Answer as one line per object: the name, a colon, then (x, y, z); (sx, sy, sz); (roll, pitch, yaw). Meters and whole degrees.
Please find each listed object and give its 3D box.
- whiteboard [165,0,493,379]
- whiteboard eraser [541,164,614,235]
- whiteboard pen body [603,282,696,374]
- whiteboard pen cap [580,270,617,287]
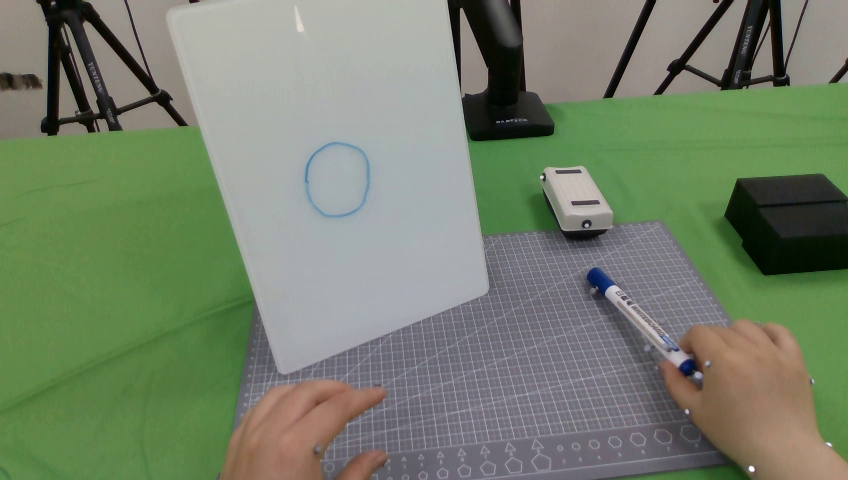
whiteboard: (-0.082, -0.070, 0.561); (0.218, 0.307, 0.142); (-19, 23, -20)
whiteboard eraser: (0.172, -0.047, 0.690); (0.055, 0.042, 0.111); (-5, 36, -2)
whiteboard pen body: (0.196, 0.070, 0.551); (0.017, 0.017, 0.139); (-13, 35, -14)
whiteboard pen cap: (0.173, 0.038, 0.599); (0.033, 0.018, 0.018); (1, 36, 32)
